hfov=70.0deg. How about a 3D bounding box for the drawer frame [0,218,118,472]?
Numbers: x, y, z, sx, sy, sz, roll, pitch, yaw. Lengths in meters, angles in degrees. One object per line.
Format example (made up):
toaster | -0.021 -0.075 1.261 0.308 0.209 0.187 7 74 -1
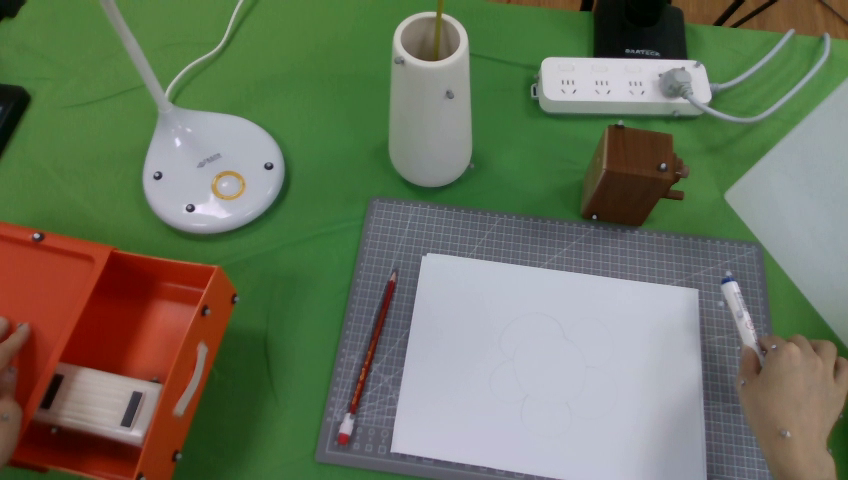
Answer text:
drawer frame | -0.408 0.081 0.546 0.213 0.083 0.200 13 65 0

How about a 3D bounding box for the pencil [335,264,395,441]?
pencil | -0.057 0.109 0.624 0.012 0.012 0.193 13 63 7

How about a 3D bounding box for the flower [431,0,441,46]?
flower | 0.011 -0.199 0.581 0.038 0.365 0.043 -4 45 -10

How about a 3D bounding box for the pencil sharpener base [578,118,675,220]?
pencil sharpener base | 0.219 -0.074 0.665 0.076 0.108 0.061 9 64 4

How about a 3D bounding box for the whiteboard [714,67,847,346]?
whiteboard | 0.495 -0.072 0.591 0.144 0.307 0.215 -15 63 -29

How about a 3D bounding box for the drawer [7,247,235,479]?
drawer | -0.304 0.100 0.541 0.211 0.074 0.193 10 65 5

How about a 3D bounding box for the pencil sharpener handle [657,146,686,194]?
pencil sharpener handle | 0.270 -0.072 0.651 0.030 0.068 0.035 9 63 4

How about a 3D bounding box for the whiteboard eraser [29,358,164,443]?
whiteboard eraser | -0.285 0.141 0.536 0.112 0.042 0.055 8 59 11

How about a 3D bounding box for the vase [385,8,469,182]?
vase | 0.002 -0.147 0.647 0.098 0.201 0.097 0 63 1

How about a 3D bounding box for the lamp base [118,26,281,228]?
lamp base | -0.258 -0.126 0.644 0.178 0.181 0.160 38 69 19

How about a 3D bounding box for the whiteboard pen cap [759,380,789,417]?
whiteboard pen cap | 0.330 0.149 0.573 0.018 0.018 0.033 -7 64 -3

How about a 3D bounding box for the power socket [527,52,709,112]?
power socket | 0.247 -0.201 0.768 0.227 0.033 0.071 2 65 0

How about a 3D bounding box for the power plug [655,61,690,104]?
power plug | 0.297 -0.184 0.734 0.035 0.053 0.072 11 66 5

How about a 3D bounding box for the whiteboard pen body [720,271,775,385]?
whiteboard pen body | 0.322 0.097 0.598 0.017 0.017 0.139 -7 65 -4
